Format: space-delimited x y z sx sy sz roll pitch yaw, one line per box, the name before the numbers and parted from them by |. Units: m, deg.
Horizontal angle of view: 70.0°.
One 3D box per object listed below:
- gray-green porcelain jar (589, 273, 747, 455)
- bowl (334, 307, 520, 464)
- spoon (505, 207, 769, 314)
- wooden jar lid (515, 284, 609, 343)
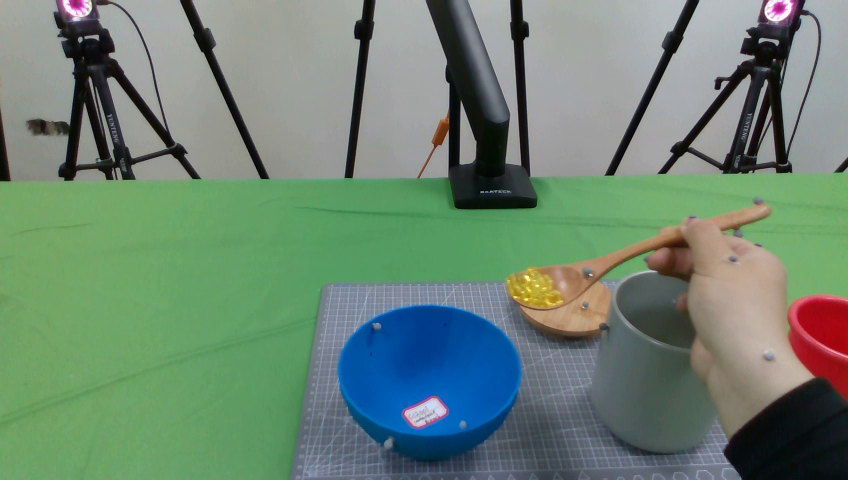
gray-green porcelain jar | 0.199 0.108 0.513 0.106 0.127 0.105 1 33 0
bowl | 0.002 0.133 0.512 0.151 0.077 0.150 1 33 0
spoon | 0.149 0.011 0.421 0.194 0.022 0.041 -21 38 1
wooden jar lid | 0.153 0.075 0.663 0.108 0.021 0.107 1 32 0
